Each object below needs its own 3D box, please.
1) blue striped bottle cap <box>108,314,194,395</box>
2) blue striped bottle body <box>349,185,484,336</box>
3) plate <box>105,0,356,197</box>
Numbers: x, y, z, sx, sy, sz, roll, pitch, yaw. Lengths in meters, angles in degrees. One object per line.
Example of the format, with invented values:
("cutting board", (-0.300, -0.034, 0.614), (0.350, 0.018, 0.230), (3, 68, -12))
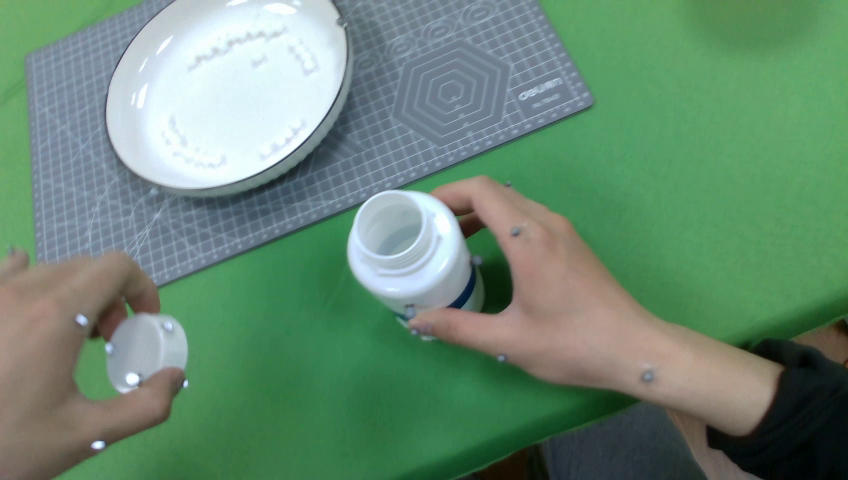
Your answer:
("blue striped bottle cap", (-0.149, 0.062, 0.329), (0.044, 0.021, 0.044), (-5, 78, 24))
("blue striped bottle body", (-0.003, 0.012, 0.352), (0.063, 0.122, 0.062), (-5, 67, 12))
("plate", (-0.150, -0.124, 0.484), (0.207, 0.039, 0.206), (-5, 68, 12))
